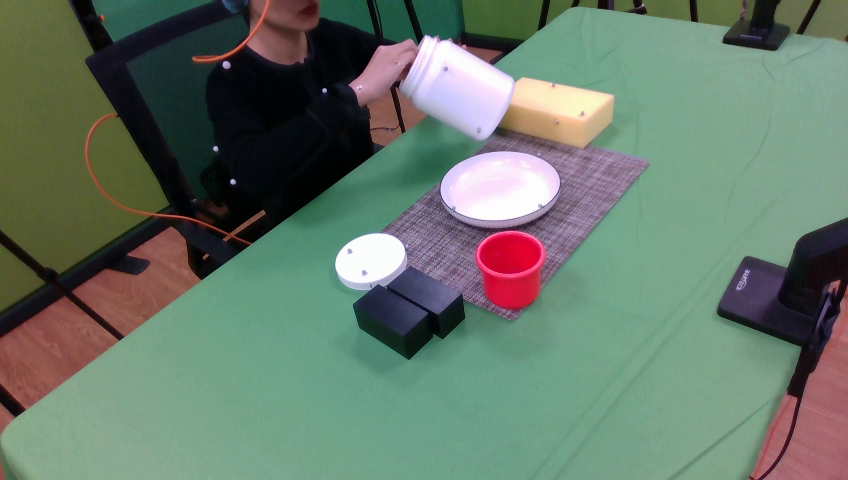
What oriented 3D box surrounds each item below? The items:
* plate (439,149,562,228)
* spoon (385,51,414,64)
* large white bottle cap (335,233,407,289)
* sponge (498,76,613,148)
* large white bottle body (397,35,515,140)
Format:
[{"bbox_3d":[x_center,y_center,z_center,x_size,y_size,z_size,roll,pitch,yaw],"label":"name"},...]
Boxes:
[{"bbox_3d":[0.131,-0.085,1.040,0.209,0.038,0.208,-5,41,5],"label":"plate"},{"bbox_3d":[0.023,-0.316,1.098,0.194,0.022,0.041,11,37,3],"label":"spoon"},{"bbox_3d":[-0.085,0.032,0.961,0.115,0.018,0.114,-6,42,6],"label":"large white bottle cap"},{"bbox_3d":[0.254,-0.259,1.207,0.205,0.061,0.118,22,47,31],"label":"sponge"},{"bbox_3d":[0.056,-0.278,1.100,0.185,0.130,0.130,26,41,-13],"label":"large white bottle body"}]
